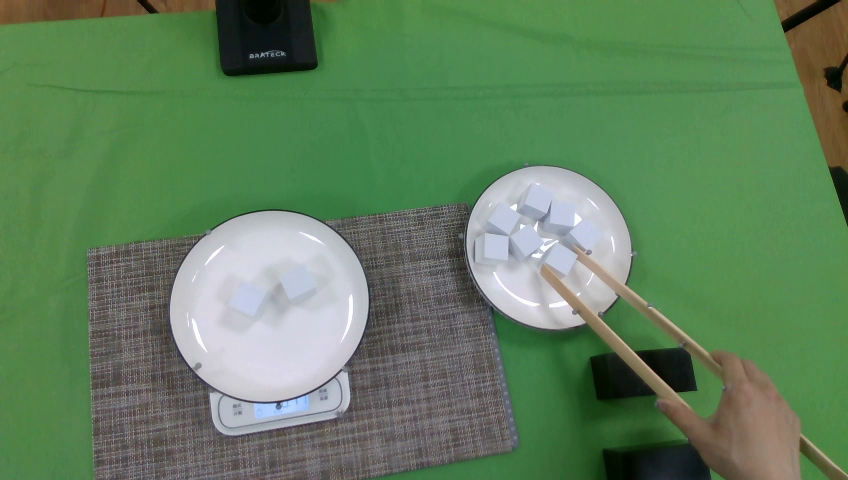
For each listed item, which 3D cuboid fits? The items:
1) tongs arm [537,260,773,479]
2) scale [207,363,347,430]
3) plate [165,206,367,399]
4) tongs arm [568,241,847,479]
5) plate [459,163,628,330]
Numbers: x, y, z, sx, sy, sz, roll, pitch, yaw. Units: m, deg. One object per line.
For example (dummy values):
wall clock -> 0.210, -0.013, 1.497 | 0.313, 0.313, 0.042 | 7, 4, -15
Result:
tongs arm -> 0.251, 0.146, 0.624 | 0.028, 0.028, 0.383 | -30, 55, -21
scale -> -0.171, 0.102, 0.681 | 0.149, 0.031, 0.200 | -7, 77, -9
plate -> -0.167, 0.066, 0.656 | 0.209, 0.038, 0.208 | 2, 75, -7
tongs arm -> 0.276, 0.131, 0.632 | 0.051, 0.027, 0.381 | -34, 56, -20
plate -> 0.143, 0.009, 0.743 | 0.208, 0.039, 0.206 | 2, 75, -6
